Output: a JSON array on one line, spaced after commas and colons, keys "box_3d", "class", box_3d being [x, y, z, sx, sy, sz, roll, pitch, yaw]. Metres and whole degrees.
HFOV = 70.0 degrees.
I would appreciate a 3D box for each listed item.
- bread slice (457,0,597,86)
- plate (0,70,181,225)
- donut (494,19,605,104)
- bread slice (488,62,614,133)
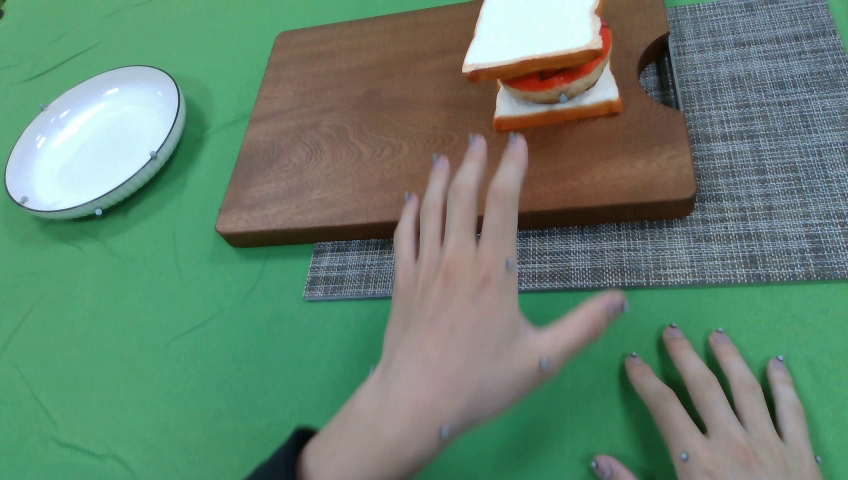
[{"box_3d": [0.086, -0.179, 0.487, 0.106, 0.018, 0.133, -5, 54, 24], "class": "bread slice"}, {"box_3d": [-0.355, -0.100, 0.660, 0.209, 0.038, 0.207, -8, 56, 12], "class": "plate"}, {"box_3d": [0.099, -0.156, 0.503, 0.099, 0.049, 0.098, -9, 56, 13], "class": "donut"}, {"box_3d": [0.105, -0.153, 0.536, 0.105, 0.019, 0.130, -7, 57, 11], "class": "bread slice"}]
